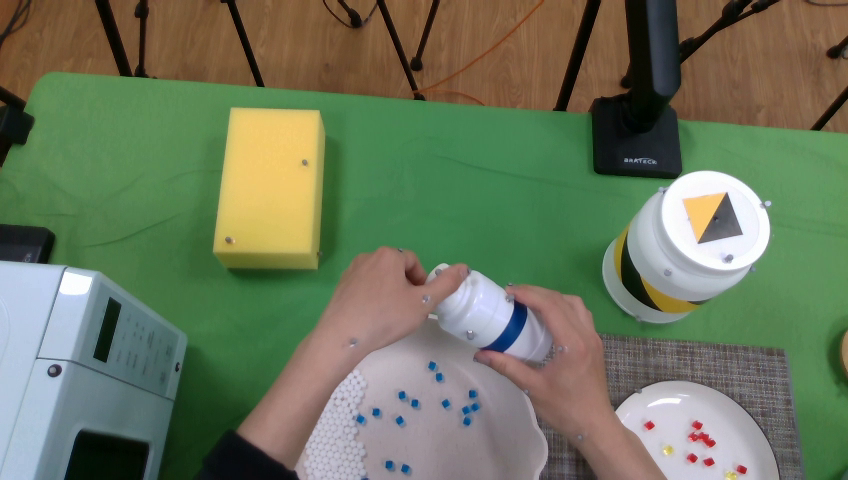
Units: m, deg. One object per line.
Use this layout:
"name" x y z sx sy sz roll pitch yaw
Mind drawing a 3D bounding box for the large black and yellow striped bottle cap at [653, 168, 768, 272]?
"large black and yellow striped bottle cap" 0.300 -0.022 0.635 0.115 0.019 0.114 1 67 -1

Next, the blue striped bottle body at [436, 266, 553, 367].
"blue striped bottle body" 0.058 0.067 0.566 0.122 0.063 0.063 31 67 -24

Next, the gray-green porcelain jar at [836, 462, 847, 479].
"gray-green porcelain jar" 0.524 0.282 0.650 0.106 0.127 0.105 1 69 -2

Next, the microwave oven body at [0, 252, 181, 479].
"microwave oven body" -0.456 0.247 0.548 0.326 0.261 0.438 5 69 -1

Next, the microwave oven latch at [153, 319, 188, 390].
"microwave oven latch" -0.297 0.132 0.702 0.030 0.029 0.078 8 69 0

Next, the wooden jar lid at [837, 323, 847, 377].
"wooden jar lid" 0.572 0.147 0.761 0.108 0.021 0.107 1 70 -1

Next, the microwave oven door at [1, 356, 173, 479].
"microwave oven door" -0.315 0.297 0.529 0.039 0.245 0.353 5 68 0

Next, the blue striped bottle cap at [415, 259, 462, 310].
"blue striped bottle cap" 0.012 0.040 0.543 0.021 0.044 0.044 37 69 -21

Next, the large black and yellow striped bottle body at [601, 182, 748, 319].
"large black and yellow striped bottle body" 0.298 0.009 0.716 0.131 0.185 0.130 1 68 -1

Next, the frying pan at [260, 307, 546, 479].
"frying pan" -0.029 0.312 0.626 0.307 0.103 0.483 4 61 1

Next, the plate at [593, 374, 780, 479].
"plate" 0.295 0.259 0.694 0.209 0.038 0.207 1 69 -2

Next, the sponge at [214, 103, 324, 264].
"sponge" -0.198 -0.074 0.792 0.118 0.061 0.205 0 69 -2
